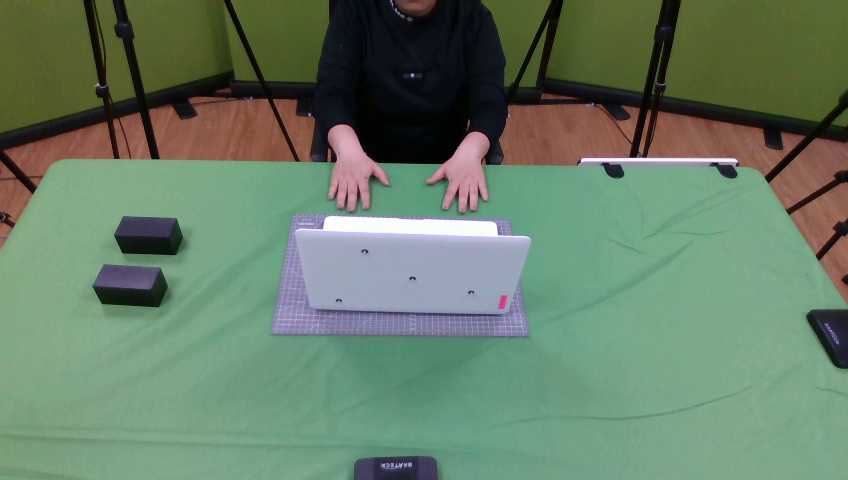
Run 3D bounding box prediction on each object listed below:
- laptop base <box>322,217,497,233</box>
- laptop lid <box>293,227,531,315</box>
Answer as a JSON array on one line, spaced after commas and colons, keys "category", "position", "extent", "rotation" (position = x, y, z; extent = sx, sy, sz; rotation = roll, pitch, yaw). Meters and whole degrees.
[{"category": "laptop base", "position": [-0.027, 0.045, 1.154], "extent": [0.354, 0.023, 0.234], "rotation": [2, 43, -3]}, {"category": "laptop lid", "position": [-0.021, 0.058, 0.975], "extent": [0.357, 0.243, 0.013], "rotation": [3, 53, -4]}]
